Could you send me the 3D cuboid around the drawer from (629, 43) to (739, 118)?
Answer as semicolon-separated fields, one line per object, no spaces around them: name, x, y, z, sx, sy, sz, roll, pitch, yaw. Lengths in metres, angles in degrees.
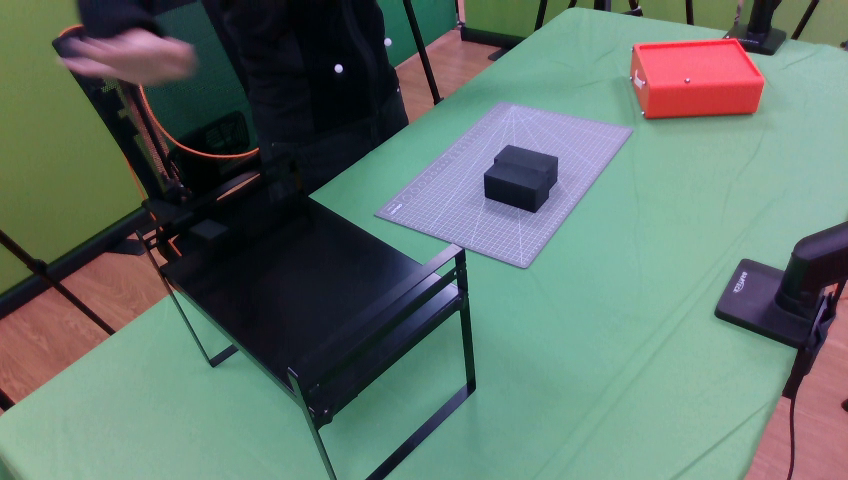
drawer;0.541;-0.330;1.234;0.211;0.073;0.193;0;41;7

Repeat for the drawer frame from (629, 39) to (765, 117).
drawer frame;0.542;-0.332;1.234;0.213;0.083;0.201;-1;41;6

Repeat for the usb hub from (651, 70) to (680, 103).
usb hub;0.500;-0.318;1.249;0.049;0.025;0.125;10;38;20
